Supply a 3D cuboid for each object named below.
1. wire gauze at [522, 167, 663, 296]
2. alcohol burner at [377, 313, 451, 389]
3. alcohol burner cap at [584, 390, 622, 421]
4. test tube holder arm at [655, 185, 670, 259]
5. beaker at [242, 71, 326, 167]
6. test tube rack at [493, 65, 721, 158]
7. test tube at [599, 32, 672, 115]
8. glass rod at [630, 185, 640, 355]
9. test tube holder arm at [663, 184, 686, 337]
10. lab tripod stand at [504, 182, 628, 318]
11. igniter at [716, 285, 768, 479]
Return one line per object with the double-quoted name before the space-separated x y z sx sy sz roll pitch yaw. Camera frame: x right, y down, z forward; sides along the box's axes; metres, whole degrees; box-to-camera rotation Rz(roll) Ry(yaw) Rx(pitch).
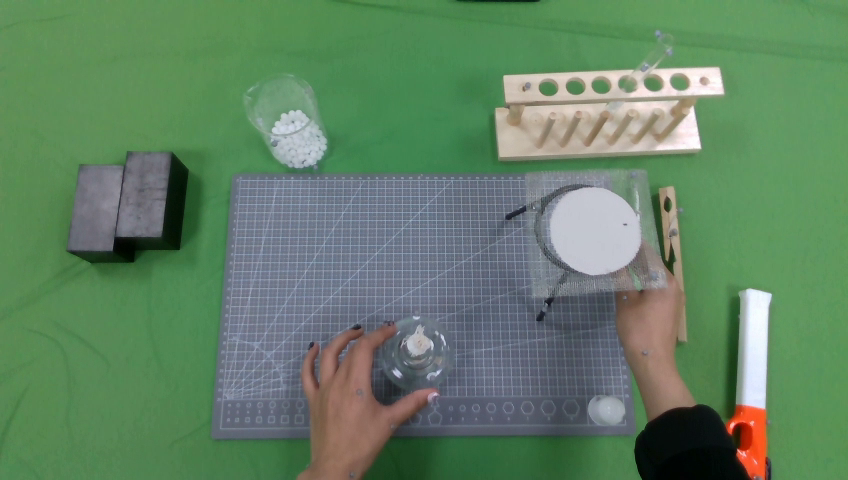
"wire gauze" 0.155 -0.011 0.569 0.121 0.011 0.124 -2 74 0
"alcohol burner" -0.010 0.110 0.613 0.078 0.120 0.077 0 72 0
"alcohol burner cap" 0.190 0.173 0.636 0.034 0.048 0.033 1 75 -2
"test tube holder arm" 0.280 -0.021 0.707 0.010 0.015 0.087 -10 73 31
"beaker" -0.155 -0.132 0.685 0.084 0.101 0.073 18 74 5
"test tube rack" 0.207 -0.147 0.704 0.242 0.085 0.066 -3 74 -2
"test tube" 0.226 -0.176 0.662 0.017 0.151 0.017 2 74 -6
"glass rod" 0.243 0.031 0.698 0.008 0.008 0.199 3 78 -1
"test tube holder arm" 0.286 0.022 0.693 0.013 0.015 0.177 -10 72 31
"lab tripod stand" 0.144 0.002 0.635 0.148 0.132 0.147 0 75 1
"igniter" 0.342 0.184 0.647 0.057 0.025 0.275 13 75 -8
